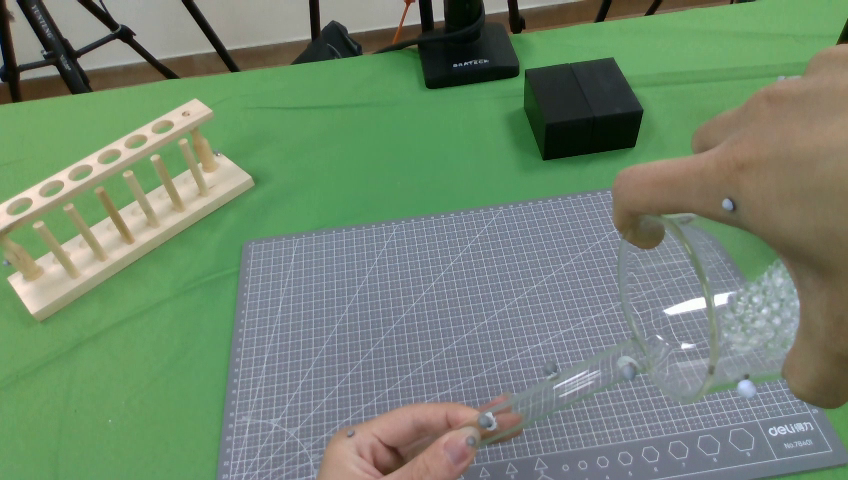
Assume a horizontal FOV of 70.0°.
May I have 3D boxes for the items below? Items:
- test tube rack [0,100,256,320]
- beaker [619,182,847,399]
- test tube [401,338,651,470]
[{"bbox_3d":[-0.295,-0.036,0.599,0.242,0.086,0.066,-38,55,-25],"label":"test tube rack"},{"bbox_3d":[0.139,0.019,0.241,0.100,0.085,0.073,-10,53,-4],"label":"beaker"},{"bbox_3d":[0.043,0.086,0.303,0.150,0.017,0.017,-35,40,29],"label":"test tube"}]
